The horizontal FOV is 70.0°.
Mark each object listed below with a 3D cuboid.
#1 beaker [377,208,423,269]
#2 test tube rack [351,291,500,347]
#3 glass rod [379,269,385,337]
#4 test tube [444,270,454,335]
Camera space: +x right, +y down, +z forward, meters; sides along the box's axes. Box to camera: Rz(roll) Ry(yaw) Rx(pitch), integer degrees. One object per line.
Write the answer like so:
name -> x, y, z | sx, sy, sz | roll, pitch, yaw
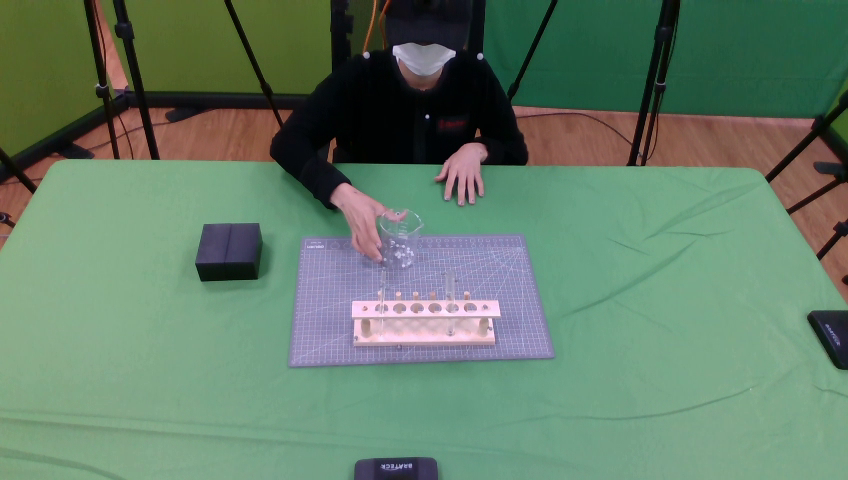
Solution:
beaker -> -0.046, 0.000, 1.138 | 0.084, 0.101, 0.073 | 3, 46, -3
test tube rack -> 0.000, 0.129, 1.026 | 0.242, 0.085, 0.066 | 0, 46, -4
glass rod -> -0.066, 0.104, 0.953 | 0.008, 0.200, 0.008 | 3, 53, -3
test tube -> 0.041, 0.105, 0.983 | 0.017, 0.151, 0.017 | -1, 44, 1
